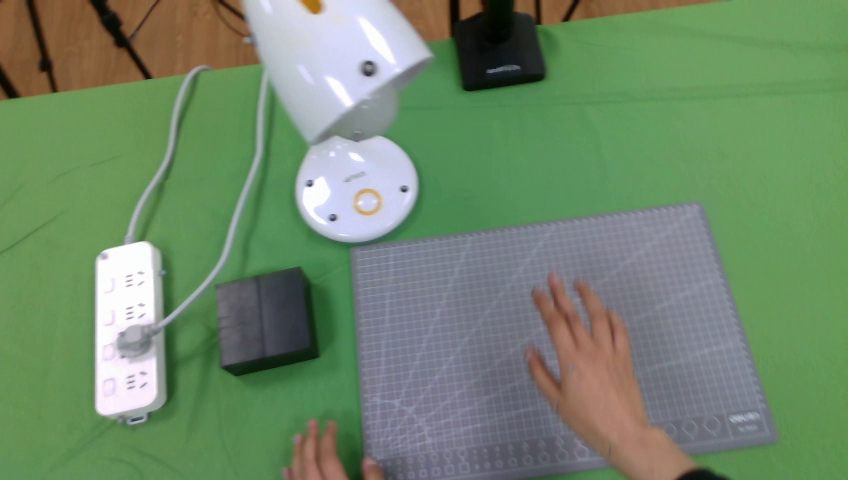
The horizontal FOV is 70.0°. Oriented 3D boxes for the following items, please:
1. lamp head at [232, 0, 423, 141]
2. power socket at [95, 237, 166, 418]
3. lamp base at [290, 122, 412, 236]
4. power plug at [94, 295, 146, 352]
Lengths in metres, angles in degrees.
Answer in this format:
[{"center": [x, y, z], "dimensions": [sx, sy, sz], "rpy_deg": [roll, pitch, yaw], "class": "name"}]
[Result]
[{"center": [-0.078, -0.150, 0.437], "dimensions": [0.112, 0.112, 0.123], "rpy_deg": [-38, 94, -12], "class": "lamp head"}, {"center": [-0.355, 0.098, 0.730], "dimensions": [0.072, 0.033, 0.225], "rpy_deg": [-12, 66, -3], "class": "power socket"}, {"center": [-0.108, -0.118, 0.728], "dimensions": [0.160, 0.181, 0.177], "rpy_deg": [-35, 67, -11], "class": "lamp base"}, {"center": [-0.350, 0.097, 0.706], "dimensions": [0.035, 0.053, 0.072], "rpy_deg": [-22, 60, -22], "class": "power plug"}]
